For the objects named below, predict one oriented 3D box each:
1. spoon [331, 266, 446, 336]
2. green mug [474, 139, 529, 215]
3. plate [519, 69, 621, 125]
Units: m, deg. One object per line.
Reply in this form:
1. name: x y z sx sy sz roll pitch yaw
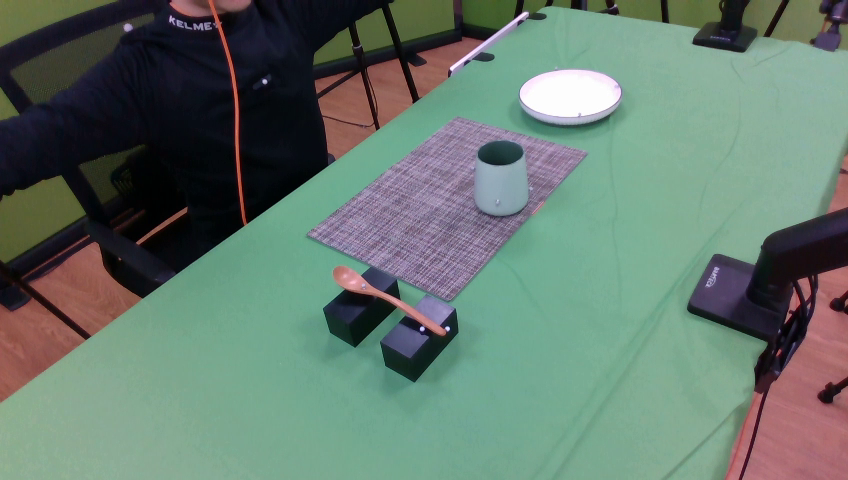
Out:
1. spoon: -0.050 0.080 0.806 0.192 0.021 0.042 24 28 30
2. green mug: 0.126 -0.113 1.013 0.092 0.105 0.124 -8 41 0
3. plate: 0.300 -0.293 1.253 0.209 0.038 0.208 -4 41 4
